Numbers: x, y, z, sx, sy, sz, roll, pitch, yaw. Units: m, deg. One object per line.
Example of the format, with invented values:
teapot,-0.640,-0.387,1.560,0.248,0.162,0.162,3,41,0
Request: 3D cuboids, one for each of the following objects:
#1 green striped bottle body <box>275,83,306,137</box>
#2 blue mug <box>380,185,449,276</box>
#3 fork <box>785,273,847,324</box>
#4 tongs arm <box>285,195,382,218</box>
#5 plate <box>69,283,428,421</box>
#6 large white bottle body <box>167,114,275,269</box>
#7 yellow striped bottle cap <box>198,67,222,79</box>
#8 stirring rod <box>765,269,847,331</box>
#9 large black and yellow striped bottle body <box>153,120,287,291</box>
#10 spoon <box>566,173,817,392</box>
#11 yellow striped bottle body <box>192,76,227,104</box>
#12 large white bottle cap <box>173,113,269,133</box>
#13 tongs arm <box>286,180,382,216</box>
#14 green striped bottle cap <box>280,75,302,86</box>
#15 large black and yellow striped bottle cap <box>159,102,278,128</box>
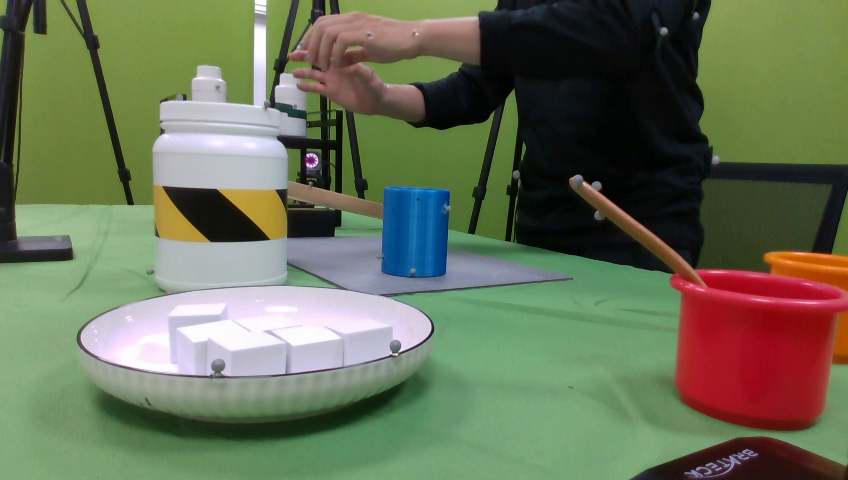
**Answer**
green striped bottle body,-0.269,-0.269,1.221,0.063,0.119,0.063,2,7,0
blue mug,-0.018,-0.016,0.764,0.083,0.106,0.116,-1,8,-25
fork,0.332,0.018,0.444,0.028,0.018,0.207,-1,-35,-15
tongs arm,-0.165,-0.074,1.216,0.389,0.027,0.028,11,-6,-24
plate,-0.102,0.066,0.381,0.208,0.039,0.207,2,7,0
large white bottle body,-0.257,-0.063,0.772,0.131,0.184,0.130,2,7,0
yellow striped bottle cap,-0.412,-0.320,1.163,0.044,0.018,0.044,0,5,0
stirring rod,0.352,0.020,0.484,0.176,0.006,0.014,-40,-6,13
large black and yellow striped bottle body,-0.208,-0.042,0.626,0.131,0.184,0.130,2,7,0
spoon,0.161,0.024,0.370,0.193,0.021,0.042,47,17,3
yellow striped bottle body,-0.414,-0.268,1.169,0.063,0.120,0.063,2,7,0
large white bottle cap,-0.254,-0.146,0.760,0.115,0.018,0.115,1,7,0
tongs arm,-0.122,-0.066,1.147,0.387,0.026,0.050,11,-2,-37
green striped bottle cap,-0.267,-0.320,1.216,0.044,0.020,0.044,4,8,0
large black and yellow striped bottle cap,-0.207,-0.125,0.615,0.115,0.019,0.115,2,6,0
